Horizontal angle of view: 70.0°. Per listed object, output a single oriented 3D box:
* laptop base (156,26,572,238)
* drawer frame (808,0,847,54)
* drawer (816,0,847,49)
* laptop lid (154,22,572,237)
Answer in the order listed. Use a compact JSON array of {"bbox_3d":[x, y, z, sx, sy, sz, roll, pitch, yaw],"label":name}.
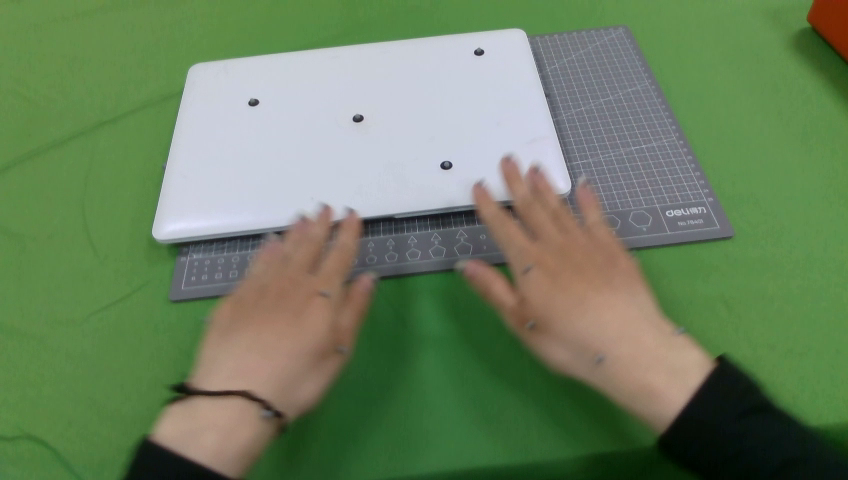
[{"bbox_3d":[-0.059,-0.110,0.575,0.354,0.023,0.233,-6,55,0],"label":"laptop base"},{"bbox_3d":[0.510,-0.193,0.550,0.202,0.083,0.211,-11,52,-3],"label":"drawer frame"},{"bbox_3d":[0.511,-0.191,0.549,0.194,0.074,0.209,-10,52,-2],"label":"drawer"},{"bbox_3d":[-0.060,-0.115,0.564,0.357,0.013,0.239,-5,55,1],"label":"laptop lid"}]
